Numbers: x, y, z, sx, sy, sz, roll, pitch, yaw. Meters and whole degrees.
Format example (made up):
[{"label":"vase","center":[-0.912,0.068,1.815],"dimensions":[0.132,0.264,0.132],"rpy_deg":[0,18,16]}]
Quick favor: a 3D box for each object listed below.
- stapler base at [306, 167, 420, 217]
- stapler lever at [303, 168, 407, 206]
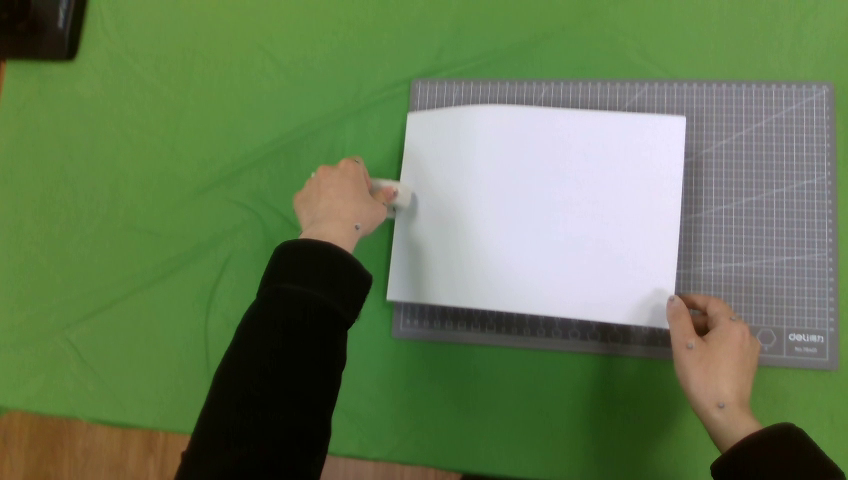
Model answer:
[{"label":"stapler base","center":[-0.071,-0.056,0.676],"dimensions":[0.130,0.024,0.041],"rpy_deg":[9,83,11]},{"label":"stapler lever","center":[-0.076,-0.058,0.655],"dimensions":[0.118,0.040,0.027],"rpy_deg":[10,82,8]}]
